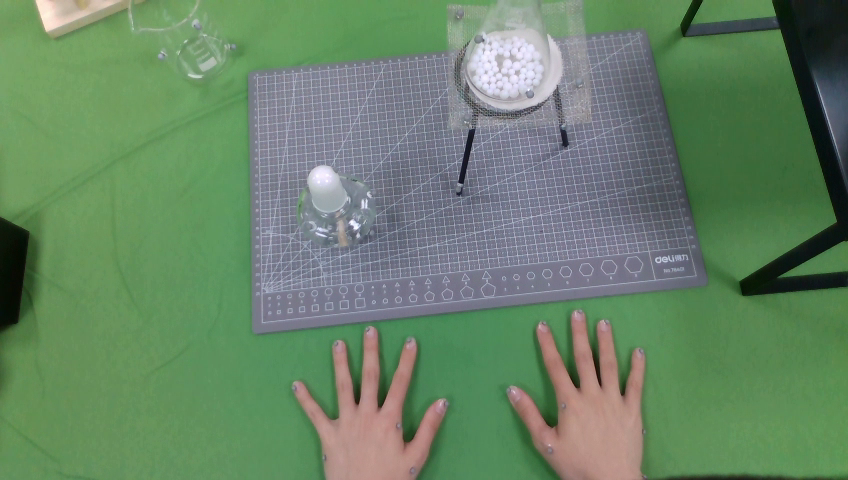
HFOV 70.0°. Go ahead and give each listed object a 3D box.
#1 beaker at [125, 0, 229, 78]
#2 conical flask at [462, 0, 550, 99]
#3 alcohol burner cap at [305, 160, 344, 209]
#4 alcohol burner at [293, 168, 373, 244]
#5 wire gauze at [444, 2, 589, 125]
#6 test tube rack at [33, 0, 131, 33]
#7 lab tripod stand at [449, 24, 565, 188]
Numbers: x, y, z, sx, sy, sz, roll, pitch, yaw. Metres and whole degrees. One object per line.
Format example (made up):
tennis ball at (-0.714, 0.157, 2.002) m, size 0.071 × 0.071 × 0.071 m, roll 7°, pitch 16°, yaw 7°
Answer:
beaker at (-0.261, -0.227, 0.649) m, size 0.073 × 0.101 × 0.084 m, roll 40°, pitch 79°, yaw 14°
conical flask at (0.067, -0.170, 0.467) m, size 0.075 × 0.122 × 0.075 m, roll 0°, pitch 72°, yaw 2°
alcohol burner cap at (-0.091, -0.052, 0.540) m, size 0.034 × 0.048 × 0.033 m, roll 0°, pitch 66°, yaw 0°
alcohol burner at (-0.088, -0.039, 0.575) m, size 0.078 × 0.120 × 0.077 m, roll 0°, pitch 71°, yaw 1°
wire gauze at (0.078, -0.156, 0.524) m, size 0.121 × 0.011 × 0.124 m, roll 0°, pitch 71°, yaw 0°
test tube rack at (-0.348, -0.334, 0.692) m, size 0.242 × 0.085 × 0.066 m, roll -25°, pitch 74°, yaw -6°
lab tripod stand at (0.074, -0.132, 0.586) m, size 0.148 × 0.132 × 0.147 m, roll 0°, pitch 71°, yaw 1°
